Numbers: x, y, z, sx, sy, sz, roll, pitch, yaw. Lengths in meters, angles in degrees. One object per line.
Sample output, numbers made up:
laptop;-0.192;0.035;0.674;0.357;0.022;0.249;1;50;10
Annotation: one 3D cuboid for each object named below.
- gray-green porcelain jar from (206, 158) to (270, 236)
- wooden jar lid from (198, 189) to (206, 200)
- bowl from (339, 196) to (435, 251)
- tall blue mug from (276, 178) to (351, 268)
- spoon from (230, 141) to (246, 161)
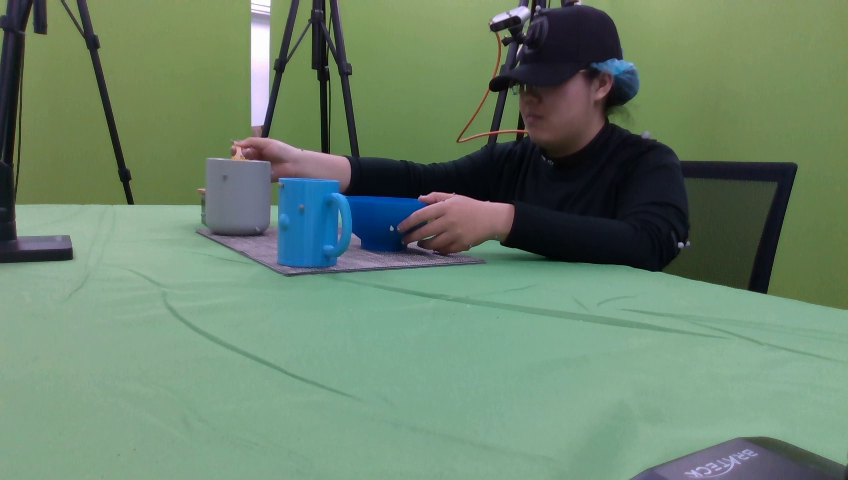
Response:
gray-green porcelain jar;-0.316;-0.074;1.031;0.106;0.126;0.106;3;7;0
wooden jar lid;-0.382;-0.088;1.175;0.108;0.020;0.108;3;8;0
bowl;-0.061;-0.026;0.945;0.151;0.077;0.151;3;7;0
tall blue mug;-0.134;-0.022;0.766;0.107;0.108;0.078;4;6;12
spoon;-0.328;-0.155;1.072;0.042;0.021;0.193;4;22;-19
